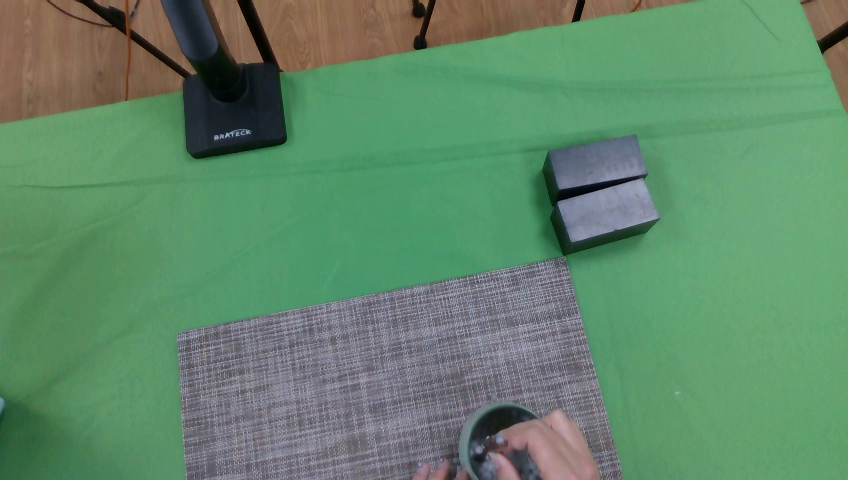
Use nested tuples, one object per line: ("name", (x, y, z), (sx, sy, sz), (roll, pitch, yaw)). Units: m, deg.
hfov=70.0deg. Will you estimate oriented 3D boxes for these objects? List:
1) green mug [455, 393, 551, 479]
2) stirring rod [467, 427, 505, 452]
("green mug", (0.084, 0.208, 0.585), (0.092, 0.105, 0.124), (-28, 74, -6))
("stirring rod", (0.052, 0.176, 0.530), (0.014, 0.177, 0.006), (11, 67, 3))
